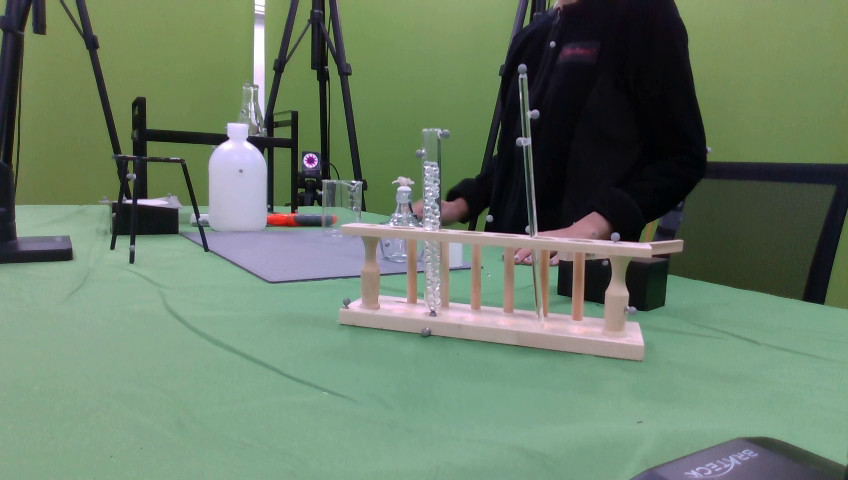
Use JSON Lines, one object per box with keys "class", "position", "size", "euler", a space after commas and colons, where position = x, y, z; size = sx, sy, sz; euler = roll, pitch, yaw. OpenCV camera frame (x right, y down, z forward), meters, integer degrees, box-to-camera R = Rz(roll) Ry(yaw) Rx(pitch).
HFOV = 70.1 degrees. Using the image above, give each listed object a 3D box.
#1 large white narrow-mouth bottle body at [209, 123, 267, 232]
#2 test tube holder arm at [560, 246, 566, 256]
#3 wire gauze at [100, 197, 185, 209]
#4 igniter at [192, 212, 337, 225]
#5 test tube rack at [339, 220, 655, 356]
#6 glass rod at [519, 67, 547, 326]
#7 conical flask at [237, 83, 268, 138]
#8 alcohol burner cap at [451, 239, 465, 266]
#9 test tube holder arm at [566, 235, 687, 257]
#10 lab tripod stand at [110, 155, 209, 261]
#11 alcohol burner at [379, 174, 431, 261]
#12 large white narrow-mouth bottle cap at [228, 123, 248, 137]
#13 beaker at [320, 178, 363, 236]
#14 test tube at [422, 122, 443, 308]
{"class": "large white narrow-mouth bottle body", "position": [-0.340, -0.115, 1.109], "size": [0.102, 0.194, 0.102], "euler": [2, 8, 0]}
{"class": "test tube holder arm", "position": [0.173, 0.007, 0.611], "size": [0.088, 0.015, 0.010], "euler": [-3, 9, -30]}
{"class": "wire gauze", "position": [-0.469, -0.062, 1.008], "size": [0.126, 0.011, 0.121], "euler": [-2, 8, -25]}
{"class": "igniter", "position": [-0.311, -0.043, 1.203], "size": [0.278, 0.025, 0.057], "euler": [-1, -5, -25]}
{"class": "test tube rack", "position": [0.056, 0.032, 0.495], "size": [0.242, 0.085, 0.067], "euler": [4, 7, 15]}
{"class": "glass rod", "position": [0.084, -0.029, 0.458], "size": [0.008, 0.199, 0.008], "euler": [-6, 11, 2]}
{"class": "conical flask", "position": [-0.402, -0.299, 1.406], "size": [0.075, 0.122, 0.075], "euler": [2, 7, 0]}
{"class": "alcohol burner cap", "position": [0.041, 0.010, 0.815], "size": [0.034, 0.048, 0.034], "euler": [4, 7, 0]}
{"class": "test tube holder arm", "position": [0.215, 0.006, 0.630], "size": [0.179, 0.015, 0.013], "euler": [-3, 9, -31]}
{"class": "lab tripod stand", "position": [-0.361, -0.046, 0.806], "size": [0.148, 0.131, 0.148], "euler": [2, 5, 0]}
{"class": "alcohol burner", "position": [-0.027, -0.031, 0.838], "size": [0.078, 0.119, 0.078], "euler": [0, 6, 0]}
{"class": "large white narrow-mouth bottle cap", "position": [-0.338, -0.199, 1.097], "size": [0.038, 0.024, 0.037], "euler": [2, 8, 0]}
{"class": "beaker", "position": [-0.145, -0.059, 1.079], "size": [0.074, 0.100, 0.083], "euler": [-4, 10, -36]}
{"class": "test tube", "position": [0.007, -0.019, 0.487], "size": [0.017, 0.150, 0.017], "euler": [-1, 7, 0]}
